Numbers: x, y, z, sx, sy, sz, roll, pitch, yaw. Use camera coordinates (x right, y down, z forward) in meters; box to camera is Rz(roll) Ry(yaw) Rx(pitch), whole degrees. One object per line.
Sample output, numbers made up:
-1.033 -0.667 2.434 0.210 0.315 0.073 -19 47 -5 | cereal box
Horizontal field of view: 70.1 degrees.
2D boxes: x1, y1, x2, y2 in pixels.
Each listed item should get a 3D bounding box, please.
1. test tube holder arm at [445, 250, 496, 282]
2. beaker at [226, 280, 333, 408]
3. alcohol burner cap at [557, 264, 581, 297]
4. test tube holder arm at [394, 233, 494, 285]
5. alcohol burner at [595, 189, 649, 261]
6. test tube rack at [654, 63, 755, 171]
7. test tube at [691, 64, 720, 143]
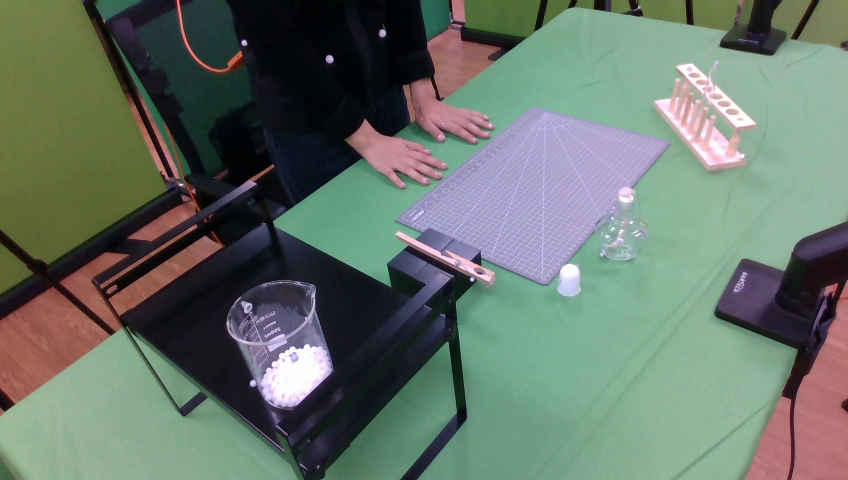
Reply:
0.063 0.036 0.851 0.087 0.015 0.010 24 58 32 | test tube holder arm
-0.123 0.096 0.546 0.073 0.101 0.084 27 51 33 | beaker
0.208 0.055 0.866 0.034 0.048 0.033 -4 42 4 | alcohol burner cap
0.024 0.025 0.872 0.177 0.015 0.013 23 57 31 | test tube holder arm
0.294 -0.028 0.894 0.078 0.119 0.077 -4 43 4 | alcohol burner
0.510 -0.233 1.120 0.067 0.085 0.241 -8 41 -1 | test tube rack
0.492 -0.236 1.056 0.017 0.151 0.017 -3 42 3 | test tube
